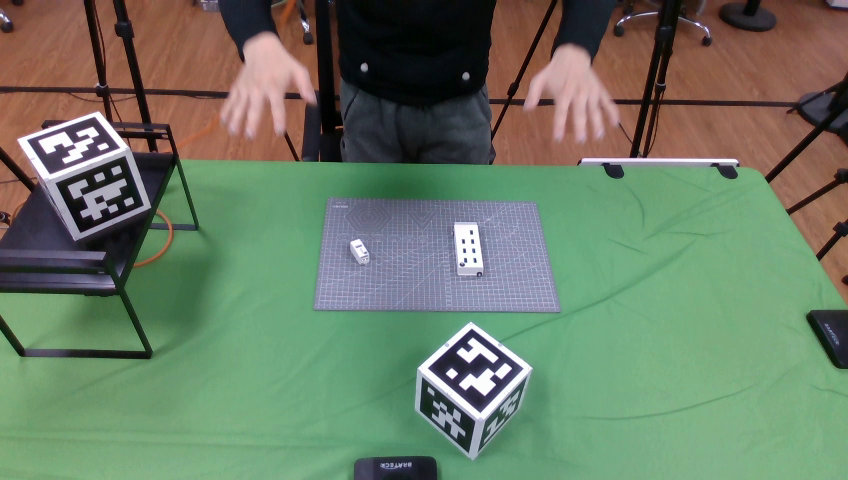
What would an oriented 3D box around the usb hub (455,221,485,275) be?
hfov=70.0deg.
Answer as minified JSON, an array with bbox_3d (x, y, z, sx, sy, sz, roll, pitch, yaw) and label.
[{"bbox_3d":[0.088,0.014,1.178,0.049,0.025,0.124,0,46,-3],"label":"usb hub"}]

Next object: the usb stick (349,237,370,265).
[{"bbox_3d":[-0.120,0.025,1.149,0.021,0.027,0.059,-30,52,5],"label":"usb stick"}]
